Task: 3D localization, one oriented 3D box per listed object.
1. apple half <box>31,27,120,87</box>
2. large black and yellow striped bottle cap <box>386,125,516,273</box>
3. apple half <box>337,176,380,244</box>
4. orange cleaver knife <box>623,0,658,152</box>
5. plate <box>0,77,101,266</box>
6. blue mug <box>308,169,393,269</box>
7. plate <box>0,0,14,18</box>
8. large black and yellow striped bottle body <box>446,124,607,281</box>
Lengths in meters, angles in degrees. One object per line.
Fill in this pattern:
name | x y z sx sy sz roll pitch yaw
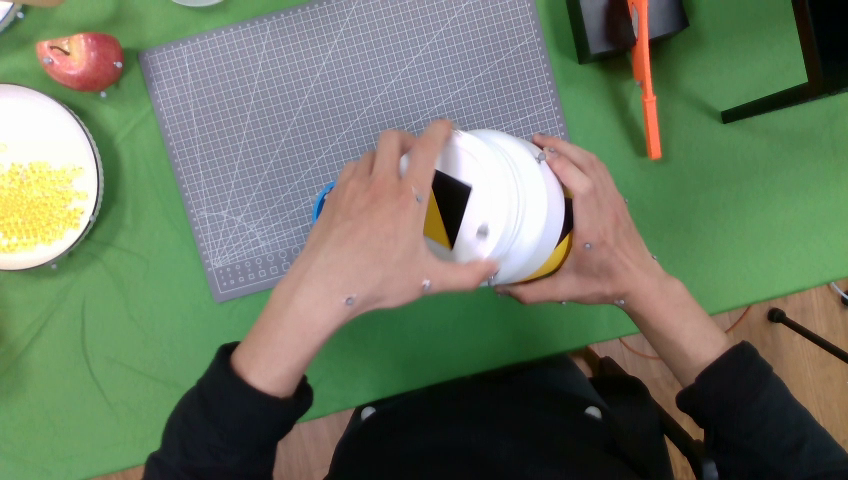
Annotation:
apple half | -0.371 -0.194 0.657 0.081 0.074 0.053 -12 98 -3
large black and yellow striped bottle cap | 0.017 -0.031 0.468 0.114 0.019 0.115 0 90 39
apple half | -0.063 -0.029 0.650 0.033 0.081 0.081 16 94 6
orange cleaver knife | 0.233 -0.199 0.660 0.012 0.076 0.213 -14 121 9
plate | -0.465 -0.076 0.683 0.209 0.038 0.209 0 95 0
blue mug | -0.066 -0.019 0.656 0.082 0.105 0.116 -31 94 2
plate | -0.535 -0.319 0.662 0.208 0.039 0.208 0 95 -1
large black and yellow striped bottle body | 0.069 -0.031 0.537 0.130 0.185 0.130 0 90 38
